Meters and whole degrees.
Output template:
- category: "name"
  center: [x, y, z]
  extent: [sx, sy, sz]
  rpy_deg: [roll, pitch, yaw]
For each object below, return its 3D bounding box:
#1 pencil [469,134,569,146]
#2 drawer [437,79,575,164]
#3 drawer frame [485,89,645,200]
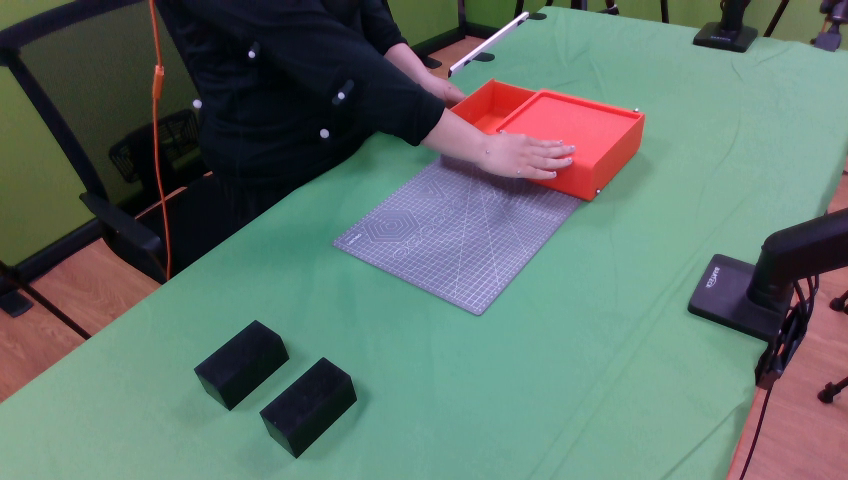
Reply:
- category: "pencil"
  center: [0.179, -0.189, 1.158]
  extent: [0.193, 0.012, 0.012]
  rpy_deg: [-2, 40, 16]
- category: "drawer"
  center: [0.165, -0.218, 1.152]
  extent: [0.210, 0.073, 0.195]
  rpy_deg: [24, 48, 31]
- category: "drawer frame"
  center: [0.253, -0.179, 1.094]
  extent: [0.212, 0.083, 0.202]
  rpy_deg: [24, 48, 31]
